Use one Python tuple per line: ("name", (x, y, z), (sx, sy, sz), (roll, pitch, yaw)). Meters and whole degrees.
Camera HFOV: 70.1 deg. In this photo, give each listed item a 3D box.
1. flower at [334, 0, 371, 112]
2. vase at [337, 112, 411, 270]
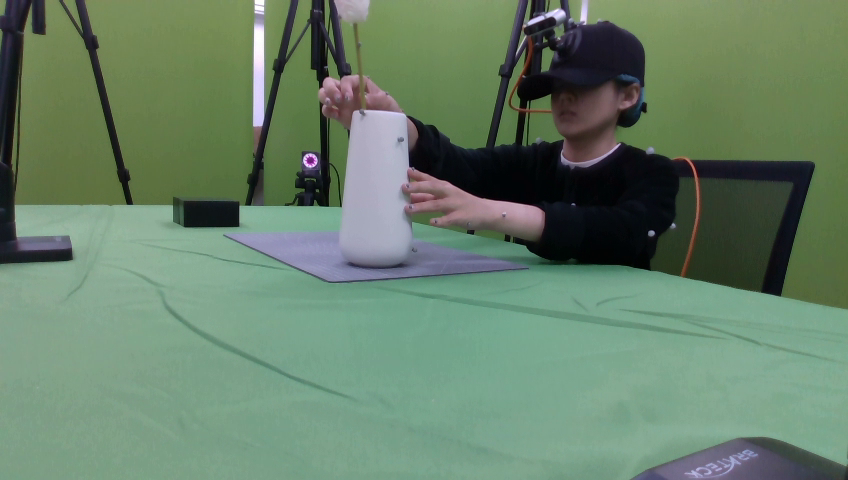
("flower", (-0.073, -0.145, 0.767), (0.044, 0.362, 0.038), (7, 25, 26))
("vase", (-0.064, -0.064, 0.789), (0.098, 0.200, 0.098), (2, 7, 0))
